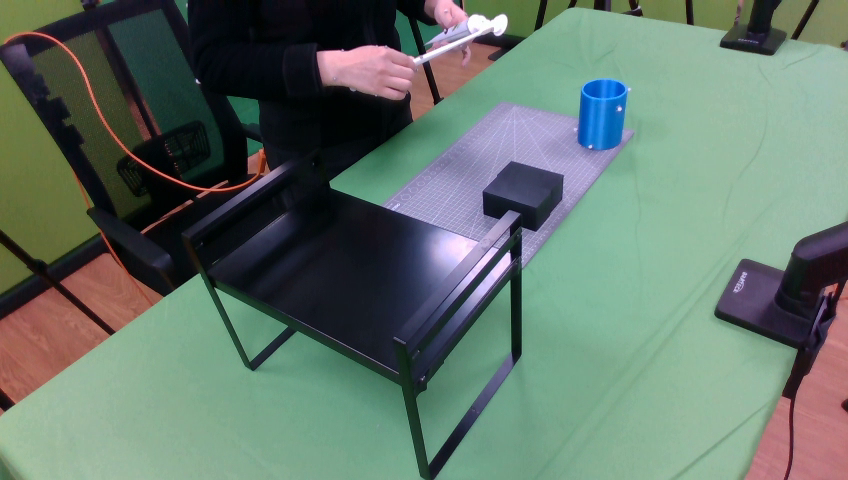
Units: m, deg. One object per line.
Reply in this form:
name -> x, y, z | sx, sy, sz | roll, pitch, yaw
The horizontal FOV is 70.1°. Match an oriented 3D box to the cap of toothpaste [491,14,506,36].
cap of toothpaste -> 0.125, -0.367, 1.028 | 0.011, 0.037, 0.037 | 8, 27, -39

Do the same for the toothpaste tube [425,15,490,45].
toothpaste tube -> 0.065, -0.376, 1.095 | 0.055, 0.034, 0.164 | -18, 13, -28

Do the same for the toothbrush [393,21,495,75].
toothbrush -> 0.032, -0.314, 0.990 | 0.182, 0.014, 0.016 | -25, 79, 0

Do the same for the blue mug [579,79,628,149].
blue mug -> 0.336, -0.246, 1.143 | 0.082, 0.106, 0.116 | 0, 41, 10
